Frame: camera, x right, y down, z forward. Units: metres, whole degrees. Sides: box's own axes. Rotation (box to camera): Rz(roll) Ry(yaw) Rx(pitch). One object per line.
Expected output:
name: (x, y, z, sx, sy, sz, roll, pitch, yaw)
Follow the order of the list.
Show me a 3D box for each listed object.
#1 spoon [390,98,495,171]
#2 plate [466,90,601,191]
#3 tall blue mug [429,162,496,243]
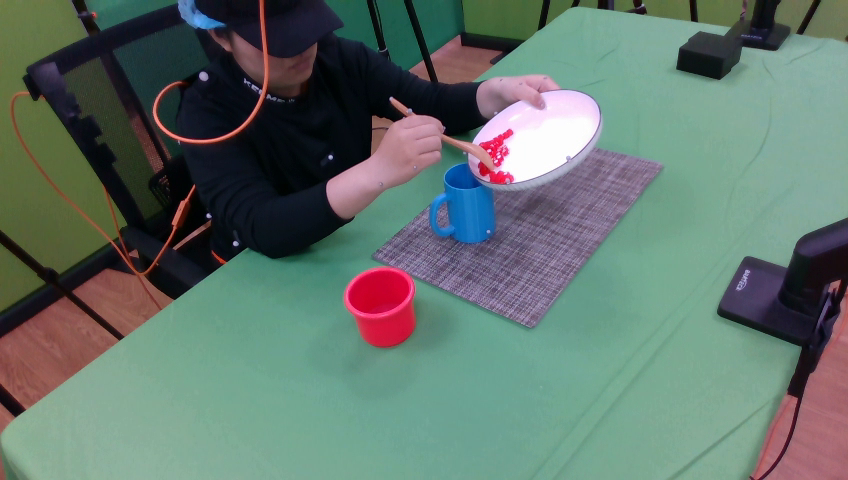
spoon: (0.031, -0.154, 0.888, 0.195, 0.021, 0.041, 25, 34, -23)
plate: (0.165, -0.145, 0.911, 0.207, 0.039, 0.206, -20, 40, 18)
tall blue mug: (0.067, -0.051, 0.960, 0.077, 0.108, 0.107, 18, 47, 27)
